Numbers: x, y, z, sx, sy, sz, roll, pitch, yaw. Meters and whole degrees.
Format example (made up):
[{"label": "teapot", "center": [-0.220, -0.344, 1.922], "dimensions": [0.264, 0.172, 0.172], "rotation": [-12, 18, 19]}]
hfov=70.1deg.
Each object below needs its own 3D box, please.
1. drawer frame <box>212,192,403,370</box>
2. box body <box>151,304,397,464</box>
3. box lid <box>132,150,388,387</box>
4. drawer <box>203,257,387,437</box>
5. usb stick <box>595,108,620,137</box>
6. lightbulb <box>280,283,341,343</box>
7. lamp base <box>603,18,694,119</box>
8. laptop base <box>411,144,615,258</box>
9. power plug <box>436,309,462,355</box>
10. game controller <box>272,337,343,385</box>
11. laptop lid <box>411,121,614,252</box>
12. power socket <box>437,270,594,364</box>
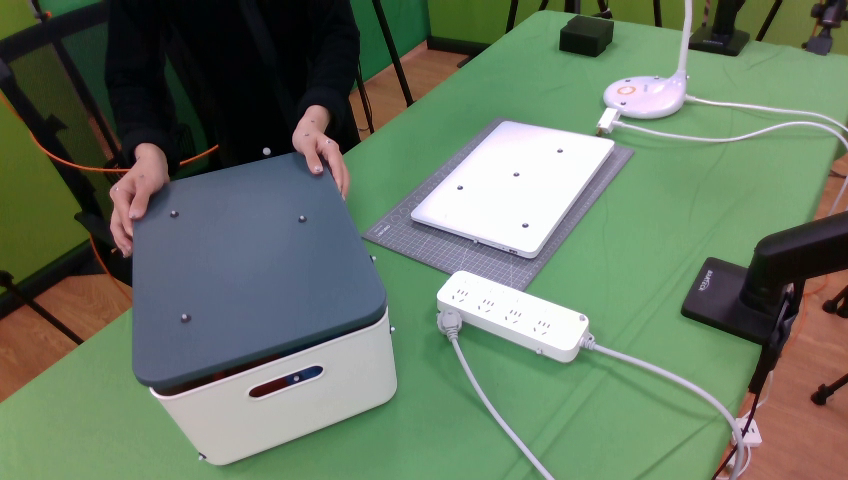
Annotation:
[{"label": "drawer frame", "center": [-0.171, 0.078, 0.768], "dimensions": [0.201, 0.214, 0.082], "rotation": [-31, 18, 25]}, {"label": "box body", "center": [-0.205, 0.080, 0.802], "dimensions": [0.255, 0.161, 0.361], "rotation": [-18, 41, -13]}, {"label": "box lid", "center": [-0.215, 0.006, 0.735], "dimensions": [0.264, 0.015, 0.368], "rotation": [-17, 40, -14]}, {"label": "drawer", "center": [-0.171, 0.127, 0.779], "dimensions": [0.195, 0.073, 0.210], "rotation": [-16, 35, -15]}, {"label": "usb stick", "center": [0.355, -0.226, 1.175], "dimensions": [0.027, 0.022, 0.059], "rotation": [29, 85, 41]}, {"label": "lightbulb", "center": [-0.152, 0.102, 0.826], "dimensions": [0.060, 0.060, 0.107], "rotation": [-35, 61, -29]}, {"label": "lamp base", "center": [0.460, -0.355, 1.205], "dimensions": [0.179, 0.181, 0.160], "rotation": [2, 41, 7]}, {"label": "laptop base", "center": [0.167, -0.102, 1.074], "dimensions": [0.234, 0.023, 0.355], "rotation": [17, 45, 30]}, {"label": "power plug", "center": [0.032, 0.127, 0.809], "dimensions": [0.035, 0.053, 0.072], "rotation": [4, 59, 7]}, {"label": "game controller", "center": [-0.159, 0.114, 0.735], "dimensions": [0.154, 0.052, 0.097], "rotation": [29, 51, 34]}, {"label": "laptop lid", "center": [0.164, -0.112, 1.068], "dimensions": [0.240, 0.013, 0.357], "rotation": [19, 46, 30]}, {"label": "power socket", "center": [0.118, 0.102, 0.830], "dimensions": [0.225, 0.033, 0.072], "rotation": [20, 48, 28]}]
